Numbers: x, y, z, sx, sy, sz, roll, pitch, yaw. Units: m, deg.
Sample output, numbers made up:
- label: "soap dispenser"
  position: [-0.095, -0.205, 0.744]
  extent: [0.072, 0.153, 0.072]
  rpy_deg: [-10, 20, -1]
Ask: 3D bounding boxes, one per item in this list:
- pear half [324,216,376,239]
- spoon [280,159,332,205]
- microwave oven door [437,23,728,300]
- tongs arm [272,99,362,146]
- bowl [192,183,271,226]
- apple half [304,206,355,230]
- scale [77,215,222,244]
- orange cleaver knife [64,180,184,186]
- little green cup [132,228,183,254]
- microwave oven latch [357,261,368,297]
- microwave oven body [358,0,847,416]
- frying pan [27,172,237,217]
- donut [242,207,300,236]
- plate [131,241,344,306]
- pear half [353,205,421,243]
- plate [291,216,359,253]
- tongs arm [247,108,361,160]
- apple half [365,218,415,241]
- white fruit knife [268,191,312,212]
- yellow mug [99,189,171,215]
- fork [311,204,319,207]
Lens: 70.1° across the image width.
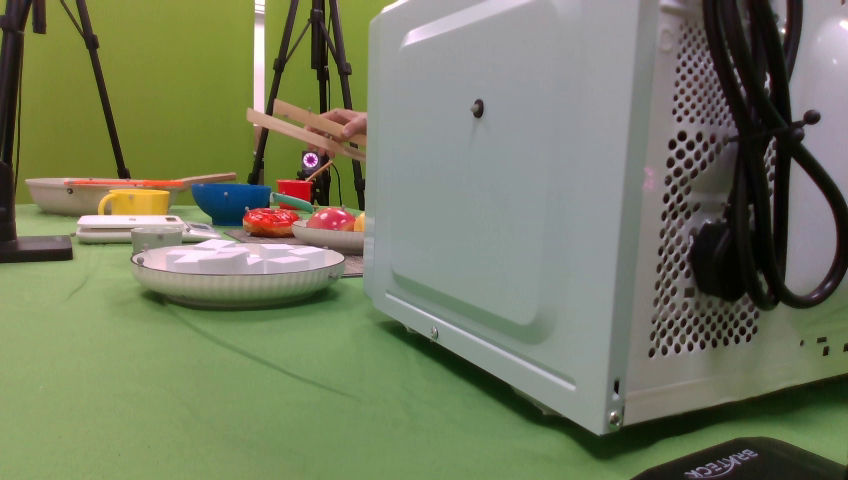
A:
- label: "pear half"
  position: [-0.119, -0.023, 0.996]
  extent: [0.088, 0.031, 0.070]
  rpy_deg: [-5, 23, -28]
- label: "spoon"
  position: [-0.316, -0.159, 1.640]
  extent: [0.194, 0.022, 0.041]
  rpy_deg: [-50, 32, -20]
- label: "microwave oven door"
  position: [0.180, -0.072, 0.621]
  extent: [0.358, 0.243, 0.039]
  rpy_deg: [-2, 8, -29]
- label: "tongs arm"
  position: [-0.146, -0.195, 1.163]
  extent: [0.050, 0.026, 0.387]
  rpy_deg: [-9, -13, 38]
- label: "bowl"
  position: [-0.382, -0.071, 1.202]
  extent: [0.151, 0.077, 0.151]
  rpy_deg: [3, 7, 0]
- label: "apple half"
  position: [-0.138, -0.025, 0.917]
  extent: [0.081, 0.053, 0.074]
  rpy_deg: [0, 10, -43]
- label: "scale"
  position: [-0.434, -0.019, 0.963]
  extent: [0.202, 0.031, 0.148]
  rpy_deg: [-1, 9, -27]
- label: "orange cleaver knife"
  position: [-0.595, -0.114, 1.212]
  extent: [0.212, 0.012, 0.077]
  rpy_deg: [-4, 6, -41]
- label: "little green cup"
  position: [-0.342, 0.006, 0.779]
  extent: [0.061, 0.038, 0.061]
  rpy_deg: [2, 8, 0]
- label: "microwave oven latch"
  position: [-0.019, 0.033, 0.531]
  extent: [0.079, 0.029, 0.030]
  rpy_deg: [-1, 7, -27]
- label: "microwave oven body"
  position: [0.211, -0.047, 0.475]
  extent: [0.444, 0.260, 0.324]
  rpy_deg: [-1, 7, -28]
- label: "frying pan"
  position: [-0.624, -0.118, 1.387]
  extent: [0.305, 0.102, 0.490]
  rpy_deg: [8, 17, 32]
- label: "donut"
  position: [-0.263, -0.031, 1.039]
  extent: [0.099, 0.048, 0.099]
  rpy_deg: [5, 9, 0]
- label: "plate"
  position: [-0.187, 0.033, 0.625]
  extent: [0.208, 0.039, 0.207]
  rpy_deg: [2, 8, 0]
- label: "pear half"
  position: [-0.051, -0.024, 0.905]
  extent: [0.110, 0.056, 0.076]
  rpy_deg: [1, -2, -38]
- label: "plate"
  position: [-0.103, -0.009, 0.945]
  extent: [0.209, 0.038, 0.209]
  rpy_deg: [2, 8, 0]
- label: "tongs arm"
  position: [-0.178, -0.191, 1.187]
  extent: [0.028, 0.027, 0.390]
  rpy_deg: [-14, -16, 38]
- label: "apple half"
  position: [-0.053, -0.019, 0.966]
  extent: [0.081, 0.033, 0.081]
  rpy_deg: [-3, 11, 1]
- label: "white fruit knife"
  position: [-0.364, -0.105, 1.464]
  extent: [0.208, 0.027, 0.016]
  rpy_deg: [15, -1, -34]
- label: "yellow mug"
  position: [-0.519, -0.055, 1.080]
  extent: [0.099, 0.064, 0.131]
  rpy_deg: [6, 9, 26]
- label: "fork"
  position: [-0.356, -0.105, 1.526]
  extent: [0.208, 0.018, 0.028]
  rpy_deg: [16, -6, -41]
